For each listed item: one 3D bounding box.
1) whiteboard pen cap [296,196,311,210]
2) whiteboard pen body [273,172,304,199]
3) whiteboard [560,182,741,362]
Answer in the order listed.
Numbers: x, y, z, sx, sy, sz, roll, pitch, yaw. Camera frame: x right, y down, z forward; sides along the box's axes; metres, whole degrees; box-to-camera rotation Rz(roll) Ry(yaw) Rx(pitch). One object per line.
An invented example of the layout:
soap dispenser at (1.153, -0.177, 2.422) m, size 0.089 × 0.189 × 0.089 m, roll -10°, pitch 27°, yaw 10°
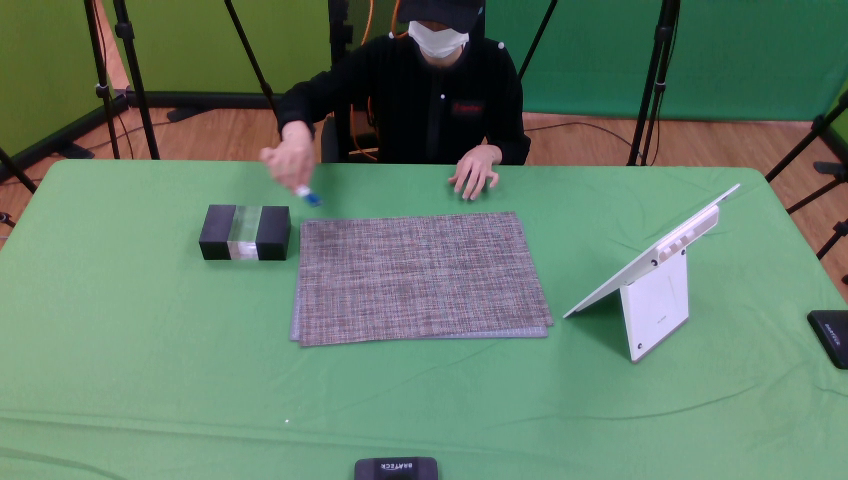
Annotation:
whiteboard pen cap at (-0.220, -0.069, 1.102) m, size 0.018 × 0.018 × 0.033 m, roll -23°, pitch 41°, yaw -24°
whiteboard pen body at (-0.252, -0.097, 1.144) m, size 0.017 × 0.017 × 0.140 m, roll -25°, pitch 40°, yaw -25°
whiteboard at (0.406, 0.075, 1.001) m, size 0.217 × 0.306 × 0.143 m, roll -28°, pitch 73°, yaw -28°
